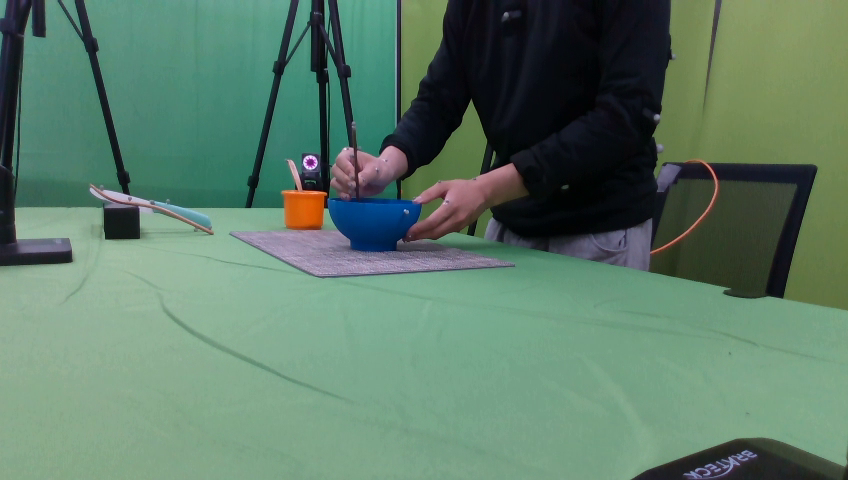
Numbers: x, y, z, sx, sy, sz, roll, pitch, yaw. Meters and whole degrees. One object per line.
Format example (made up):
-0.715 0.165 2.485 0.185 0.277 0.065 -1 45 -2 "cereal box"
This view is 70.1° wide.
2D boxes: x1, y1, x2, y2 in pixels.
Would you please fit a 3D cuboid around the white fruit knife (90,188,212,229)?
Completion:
-0.478 -0.058 1.073 0.208 0.027 0.016 17 -4 -30 "white fruit knife"

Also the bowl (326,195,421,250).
-0.080 -0.027 0.958 0.151 0.077 0.151 2 7 0 "bowl"

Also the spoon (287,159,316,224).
-0.261 -0.104 1.263 0.042 0.193 0.021 0 -37 -29 "spoon"

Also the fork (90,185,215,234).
-0.452 -0.049 1.018 0.208 0.018 0.028 21 -7 -33 "fork"

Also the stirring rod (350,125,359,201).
-0.104 -0.089 0.922 0.006 0.176 0.014 -7 26 -12 "stirring rod"
